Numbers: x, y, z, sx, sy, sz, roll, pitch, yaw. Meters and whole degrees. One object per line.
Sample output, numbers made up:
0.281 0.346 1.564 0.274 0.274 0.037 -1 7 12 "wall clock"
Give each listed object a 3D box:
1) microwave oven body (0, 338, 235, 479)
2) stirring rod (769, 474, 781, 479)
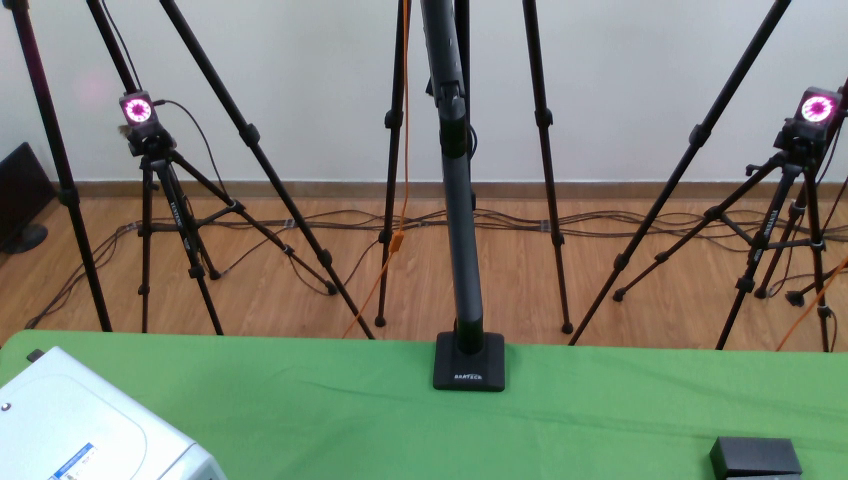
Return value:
-0.476 0.390 0.697 0.324 0.263 0.440 22 50 24 "microwave oven body"
0.468 0.389 0.766 0.014 0.006 0.174 -3 65 0 "stirring rod"
